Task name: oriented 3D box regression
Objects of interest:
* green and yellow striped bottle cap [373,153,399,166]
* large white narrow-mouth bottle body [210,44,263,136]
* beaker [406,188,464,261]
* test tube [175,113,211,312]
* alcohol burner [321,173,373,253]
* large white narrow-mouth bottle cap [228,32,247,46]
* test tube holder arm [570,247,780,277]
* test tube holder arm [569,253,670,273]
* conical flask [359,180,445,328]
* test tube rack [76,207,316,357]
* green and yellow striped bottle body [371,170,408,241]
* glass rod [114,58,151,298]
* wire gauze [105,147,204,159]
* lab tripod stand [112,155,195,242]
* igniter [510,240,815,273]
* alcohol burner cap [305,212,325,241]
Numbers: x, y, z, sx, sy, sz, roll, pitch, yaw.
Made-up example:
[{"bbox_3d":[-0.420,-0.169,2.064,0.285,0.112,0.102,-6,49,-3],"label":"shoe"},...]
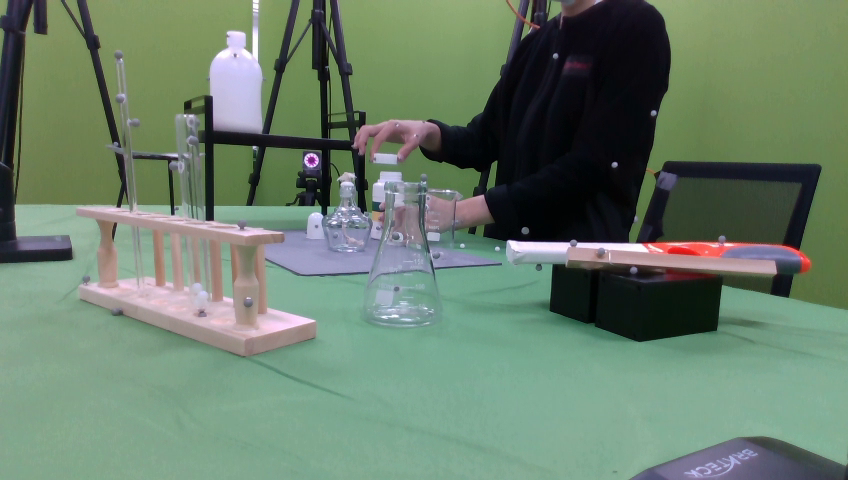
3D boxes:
[{"bbox_3d":[-0.066,-0.140,1.052,0.045,0.020,0.045,5,7,0],"label":"green and yellow striped bottle cap"},{"bbox_3d":[-0.369,-0.305,1.194,0.102,0.194,0.102,3,8,0],"label":"large white narrow-mouth bottle body"},{"bbox_3d":[0.014,-0.023,0.870,0.084,0.100,0.074,2,8,-4],"label":"beaker"},{"bbox_3d":[-0.174,-0.020,0.458,0.017,0.150,0.017,-3,5,1],"label":"test tube"},{"bbox_3d":[-0.115,-0.041,0.905,0.078,0.119,0.078,1,6,0],"label":"alcohol burner"},{"bbox_3d":[-0.364,-0.390,1.180,0.038,0.024,0.037,3,8,0],"label":"large white narrow-mouth bottle cap"},{"bbox_3d":[0.217,0.019,0.525,0.178,0.015,0.013,3,-23,3],"label":"test tube holder arm"},{"bbox_3d":[0.172,0.019,0.532,0.088,0.015,0.010,3,-23,3],"label":"test tube holder arm"},{"bbox_3d":[-0.017,0.010,0.522,0.075,0.122,0.075,2,7,0],"label":"conical flask"},{"bbox_3d":[-0.196,0.023,0.499,0.241,0.085,0.067,8,9,36],"label":"test tube rack"},{"bbox_3d":[-0.059,-0.061,1.059,0.063,0.119,0.063,3,7,0],"label":"green and yellow striped bottle body"},{"bbox_3d":[-0.236,-0.044,0.492,0.008,0.199,0.008,0,15,0],"label":"glass rod"},{"bbox_3d":[-0.407,-0.131,0.928,0.125,0.011,0.121,2,6,-11],"label":"wire gauze"},{"bbox_3d":[-0.405,-0.064,0.931,0.148,0.131,0.148,1,6,0],"label":"lab tripod stand"},{"bbox_3d":[0.220,0.015,0.565,0.277,0.025,0.057,2,16,-1],"label":"igniter"},{"bbox_3d":[-0.185,-0.023,1.027,0.034,0.048,0.034,2,7,0],"label":"alcohol burner cap"}]
